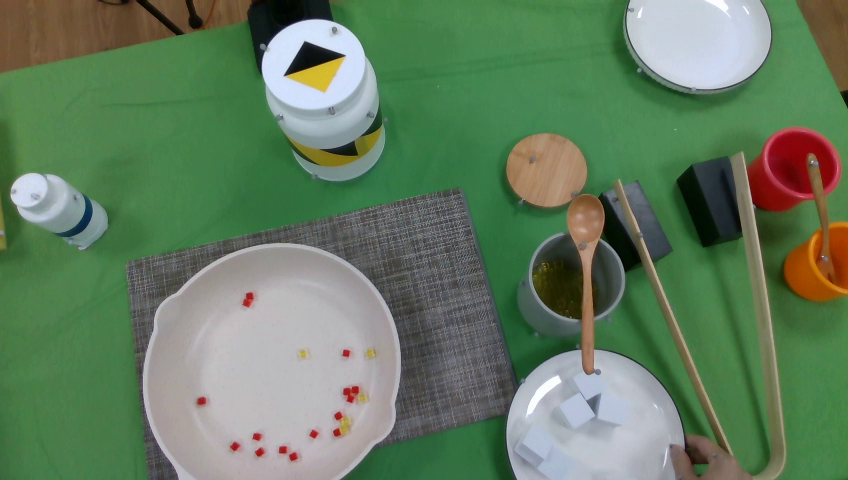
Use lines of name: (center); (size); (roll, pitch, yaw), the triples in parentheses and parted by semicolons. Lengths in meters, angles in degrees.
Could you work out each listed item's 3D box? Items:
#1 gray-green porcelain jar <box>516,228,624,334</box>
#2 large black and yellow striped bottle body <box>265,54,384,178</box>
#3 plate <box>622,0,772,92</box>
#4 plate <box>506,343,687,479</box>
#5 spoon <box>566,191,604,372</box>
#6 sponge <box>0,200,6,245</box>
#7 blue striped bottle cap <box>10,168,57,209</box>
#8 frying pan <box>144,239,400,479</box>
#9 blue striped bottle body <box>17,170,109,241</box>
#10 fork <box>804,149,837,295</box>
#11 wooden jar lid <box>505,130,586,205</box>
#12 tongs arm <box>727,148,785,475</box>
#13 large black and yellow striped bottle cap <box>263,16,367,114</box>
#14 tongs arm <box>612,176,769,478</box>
gray-green porcelain jar: (0.166, 0.054, 0.719); (0.106, 0.127, 0.105); (0, 73, 1)
large black and yellow striped bottle body: (-0.121, -0.170, 0.756); (0.131, 0.185, 0.130); (0, 73, 1)
plate: (0.384, -0.301, 0.865); (0.209, 0.038, 0.208); (0, 74, 1)
plate: (0.199, 0.227, 0.715); (0.208, 0.039, 0.206); (0, 74, 1)
spoon: (0.173, 0.042, 0.649); (0.041, 0.022, 0.193); (3, 78, -1)
sponge: (-0.639, -0.079, 0.795); (0.118, 0.061, 0.205); (-18, 75, -5)
blue striped bottle cap: (-0.454, -0.060, 0.704); (0.044, 0.021, 0.044); (0, 75, 0)
frying pan: (-0.220, 0.230, 0.678); (0.306, 0.103, 0.486); (27, 67, 9)
blue striped bottle body: (-0.453, -0.045, 0.753); (0.063, 0.121, 0.062); (0, 73, 1)
fork: (0.474, -0.017, 0.725); (0.028, 0.018, 0.209); (-26, 119, 1)
wooden jar lid: (0.163, -0.097, 0.818); (0.108, 0.021, 0.108); (0, 75, 1)
tongs arm: (0.395, 0.080, 0.729); (0.028, 0.028, 0.386); (-3, 84, -8)
large black and yellow striped bottle cap: (-0.121, -0.196, 0.675); (0.115, 0.019, 0.114); (0, 75, 0)
tongs arm: (0.314, 0.098, 0.722); (0.051, 0.026, 0.383); (-18, 85, -7)
